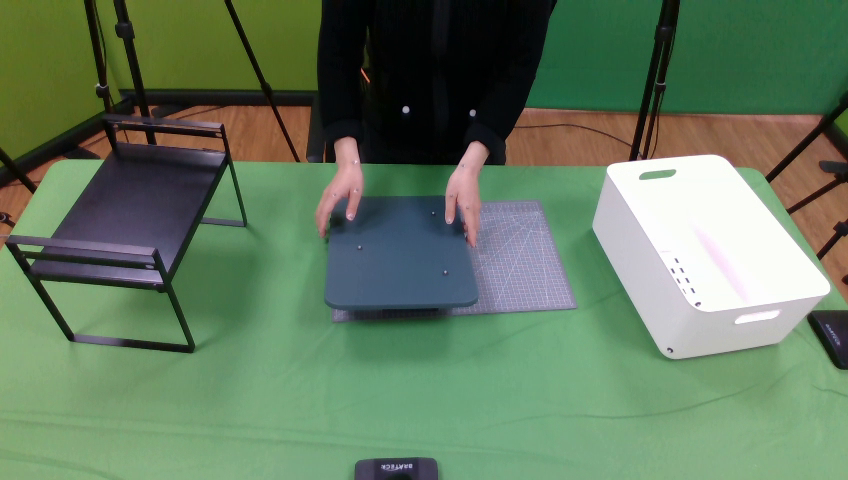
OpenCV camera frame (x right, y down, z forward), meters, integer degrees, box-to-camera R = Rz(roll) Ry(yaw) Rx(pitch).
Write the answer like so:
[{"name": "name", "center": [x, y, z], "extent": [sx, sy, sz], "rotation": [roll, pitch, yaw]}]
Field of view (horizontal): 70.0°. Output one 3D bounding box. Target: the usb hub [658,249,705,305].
[{"name": "usb hub", "center": [0.481, 0.070, 1.152], "extent": [0.049, 0.025, 0.124], "rotation": [-4, 45, -6]}]

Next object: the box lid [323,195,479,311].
[{"name": "box lid", "center": [-0.049, 0.009, 1.138], "extent": [0.263, 0.015, 0.369], "rotation": [-1, 33, -5]}]

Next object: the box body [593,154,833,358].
[{"name": "box body", "center": [0.497, 0.023, 1.112], "extent": [0.254, 0.161, 0.361], "rotation": [-7, 47, -10]}]
